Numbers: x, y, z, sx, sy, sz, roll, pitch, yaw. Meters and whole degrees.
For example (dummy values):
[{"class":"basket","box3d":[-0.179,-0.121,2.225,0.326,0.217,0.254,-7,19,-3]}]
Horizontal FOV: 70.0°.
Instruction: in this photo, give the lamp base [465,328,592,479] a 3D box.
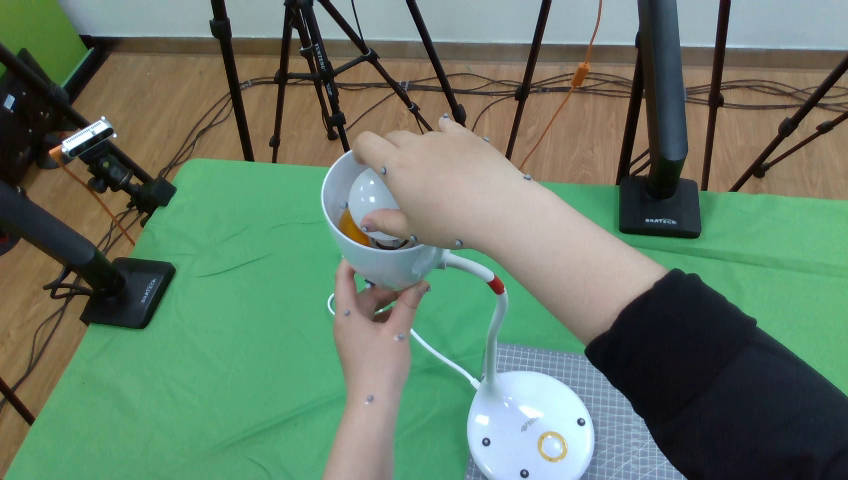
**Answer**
[{"class":"lamp base","box3d":[0.114,0.185,0.720,0.177,0.182,0.160,29,62,29]}]

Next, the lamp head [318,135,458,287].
[{"class":"lamp head","box3d":[-0.025,-0.011,0.522,0.112,0.124,0.111,-2,57,4]}]

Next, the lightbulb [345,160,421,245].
[{"class":"lightbulb","box3d":[-0.032,-0.022,0.495,0.059,0.108,0.059,0,64,0]}]
